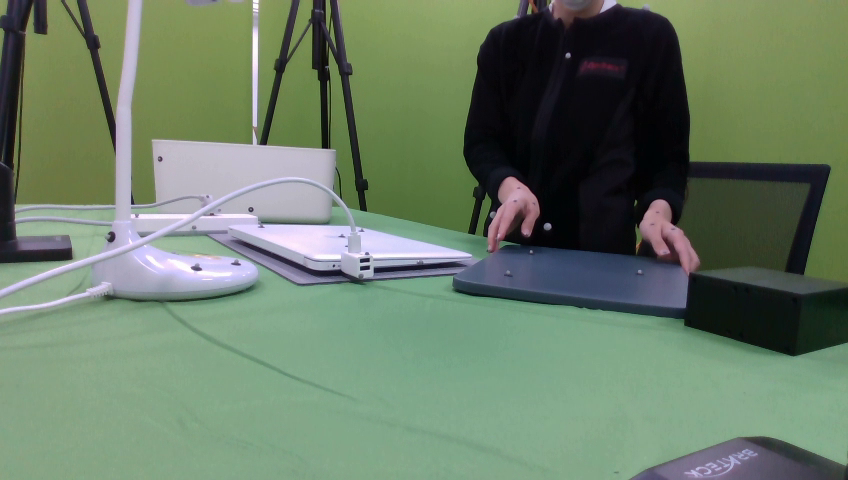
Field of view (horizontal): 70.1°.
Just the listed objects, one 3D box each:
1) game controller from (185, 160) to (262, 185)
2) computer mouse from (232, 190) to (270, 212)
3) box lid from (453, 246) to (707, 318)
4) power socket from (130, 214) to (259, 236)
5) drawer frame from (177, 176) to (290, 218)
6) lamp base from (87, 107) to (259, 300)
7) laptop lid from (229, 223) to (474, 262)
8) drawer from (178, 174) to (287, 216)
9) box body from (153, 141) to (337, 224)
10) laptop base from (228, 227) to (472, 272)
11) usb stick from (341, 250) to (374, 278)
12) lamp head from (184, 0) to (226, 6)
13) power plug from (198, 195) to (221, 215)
[{"bbox_3d":[-0.441,-0.147,1.320,0.156,0.051,0.096,-2,4,-36],"label":"game controller"},{"bbox_3d":[-0.382,-0.087,1.343,0.063,0.041,0.117,9,11,-4],"label":"computer mouse"},{"bbox_3d":[0.204,0.044,0.780,0.262,0.015,0.372,5,7,17],"label":"box lid"},{"bbox_3d":[-0.397,-0.028,1.048,0.228,0.032,0.072,-3,7,-35],"label":"power socket"},{"bbox_3d":[-0.410,-0.099,1.338,0.214,0.082,0.201,-4,6,-11],"label":"drawer frame"},{"bbox_3d":[-0.254,-0.039,0.603,0.160,0.180,0.179,5,10,18],"label":"lamp base"},{"bbox_3d":[-0.121,0.000,0.888,0.243,0.013,0.355,1,7,-33],"label":"laptop lid"},{"bbox_3d":[-0.414,-0.105,1.341,0.212,0.073,0.194,5,7,-12],"label":"drawer"},{"bbox_3d":[-0.380,-0.130,1.344,0.365,0.160,0.253,1,7,-9],"label":"box body"},{"bbox_3d":[-0.124,0.011,0.889,0.237,0.023,0.352,2,6,-35],"label":"laptop base"},{"bbox_3d":[-0.078,0.026,0.686,0.021,0.027,0.059,-8,8,-30],"label":"usb stick"},{"bbox_3d":[-0.229,-0.320,0.627,0.112,0.112,0.123,6,-36,26],"label":"lamp head"},{"bbox_3d":[-0.386,-0.055,1.088,0.035,0.052,0.072,-2,7,-24],"label":"power plug"}]
